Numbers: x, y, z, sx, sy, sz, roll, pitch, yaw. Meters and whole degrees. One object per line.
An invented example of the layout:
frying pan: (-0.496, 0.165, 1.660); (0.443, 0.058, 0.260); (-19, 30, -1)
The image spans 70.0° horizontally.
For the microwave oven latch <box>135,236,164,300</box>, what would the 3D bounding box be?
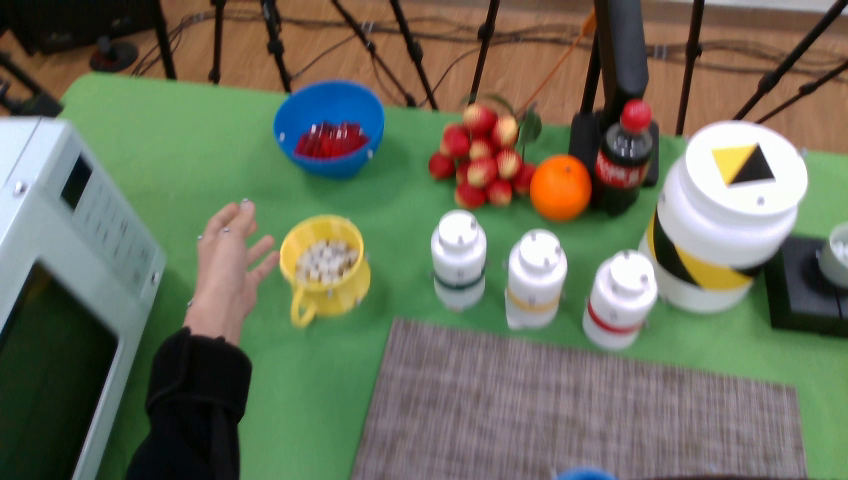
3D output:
microwave oven latch: (-0.342, 0.035, 0.738); (0.030, 0.030, 0.078); (2, 57, 4)

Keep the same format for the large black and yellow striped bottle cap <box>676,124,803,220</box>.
large black and yellow striped bottle cap: (0.311, -0.070, 0.599); (0.115, 0.019, 0.114); (-2, 55, 3)

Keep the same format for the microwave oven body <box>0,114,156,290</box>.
microwave oven body: (-0.503, 0.128, 0.571); (0.326, 0.262, 0.437); (0, 57, 4)

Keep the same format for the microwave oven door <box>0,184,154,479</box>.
microwave oven door: (-0.358, 0.161, 0.534); (0.039, 0.246, 0.352); (0, 56, 6)

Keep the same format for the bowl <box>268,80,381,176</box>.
bowl: (-0.130, -0.142, 0.841); (0.151, 0.077, 0.150); (-1, 57, 2)

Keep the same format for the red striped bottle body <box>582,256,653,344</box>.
red striped bottle body: (0.210, 0.060, 0.659); (0.063, 0.121, 0.062); (-3, 54, 5)

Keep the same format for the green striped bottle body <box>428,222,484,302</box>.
green striped bottle body: (0.037, 0.018, 0.699); (0.063, 0.120, 0.062); (-2, 56, 3)

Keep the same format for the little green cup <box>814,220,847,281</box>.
little green cup: (0.463, 0.013, 0.663); (0.061, 0.039, 0.061); (-1, 55, 2)

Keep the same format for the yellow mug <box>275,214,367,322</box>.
yellow mug: (-0.129, 0.039, 0.728); (0.099, 0.064, 0.130); (17, 60, 14)

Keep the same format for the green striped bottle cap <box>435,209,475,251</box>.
green striped bottle cap: (0.033, -0.011, 0.656); (0.044, 0.020, 0.044); (-2, 55, 3)

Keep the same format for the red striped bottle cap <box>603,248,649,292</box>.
red striped bottle cap: (0.206, 0.030, 0.616); (0.044, 0.018, 0.044); (1, 56, -1)

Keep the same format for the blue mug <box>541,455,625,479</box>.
blue mug: (0.122, 0.255, 0.540); (0.116, 0.107, 0.081); (-22, 57, -11)

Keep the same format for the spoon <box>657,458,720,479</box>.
spoon: (0.162, 0.222, 0.507); (0.022, 0.194, 0.041); (7, 52, -35)

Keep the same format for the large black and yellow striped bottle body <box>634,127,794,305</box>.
large black and yellow striped bottle body: (0.317, -0.024, 0.670); (0.131, 0.185, 0.129); (-2, 56, 3)

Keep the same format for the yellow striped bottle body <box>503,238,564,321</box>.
yellow striped bottle body: (0.122, 0.038, 0.679); (0.063, 0.121, 0.062); (-2, 56, 3)

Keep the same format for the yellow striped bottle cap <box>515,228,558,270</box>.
yellow striped bottle cap: (0.119, 0.009, 0.637); (0.044, 0.019, 0.044); (-1, 58, 3)
